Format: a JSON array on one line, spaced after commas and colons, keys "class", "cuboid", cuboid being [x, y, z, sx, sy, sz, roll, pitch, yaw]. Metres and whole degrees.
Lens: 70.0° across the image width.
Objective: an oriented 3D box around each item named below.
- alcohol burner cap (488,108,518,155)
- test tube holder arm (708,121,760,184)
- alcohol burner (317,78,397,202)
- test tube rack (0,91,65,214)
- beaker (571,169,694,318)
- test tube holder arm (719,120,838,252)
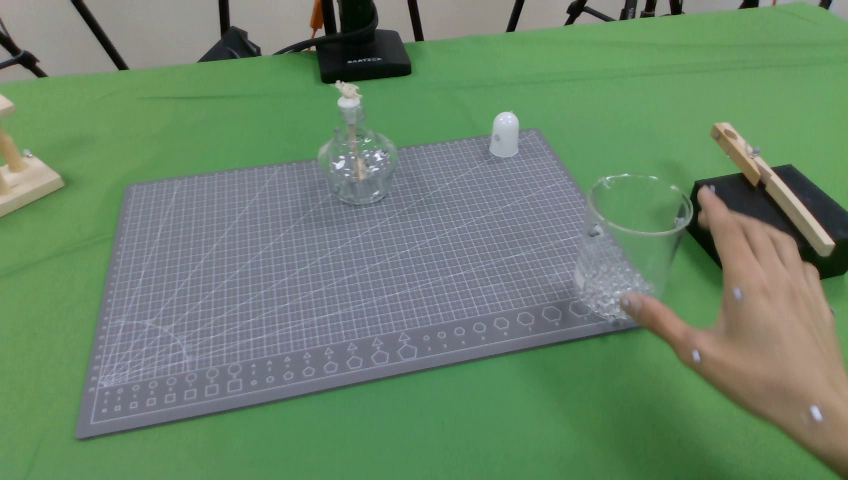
[{"class": "alcohol burner cap", "cuboid": [0.086, -0.119, 0.654, 0.034, 0.048, 0.033, 0, 43, 0]}, {"class": "test tube holder arm", "cuboid": [0.291, -0.083, 0.564, 0.010, 0.015, 0.087, -12, 43, -1]}, {"class": "alcohol burner", "cuboid": [-0.066, -0.097, 0.578, 0.078, 0.120, 0.077, -2, 42, 2]}, {"class": "test tube rack", "cuboid": [-0.474, -0.042, 0.546, 0.066, 0.086, 0.242, 29, 50, 29]}, {"class": "beaker", "cuboid": [0.156, 0.004, 0.476, 0.074, 0.101, 0.083, -15, 44, -16]}, {"class": "test tube holder arm", "cuboid": [0.304, -0.054, 0.532, 0.013, 0.015, 0.176, -13, 43, -1]}]
